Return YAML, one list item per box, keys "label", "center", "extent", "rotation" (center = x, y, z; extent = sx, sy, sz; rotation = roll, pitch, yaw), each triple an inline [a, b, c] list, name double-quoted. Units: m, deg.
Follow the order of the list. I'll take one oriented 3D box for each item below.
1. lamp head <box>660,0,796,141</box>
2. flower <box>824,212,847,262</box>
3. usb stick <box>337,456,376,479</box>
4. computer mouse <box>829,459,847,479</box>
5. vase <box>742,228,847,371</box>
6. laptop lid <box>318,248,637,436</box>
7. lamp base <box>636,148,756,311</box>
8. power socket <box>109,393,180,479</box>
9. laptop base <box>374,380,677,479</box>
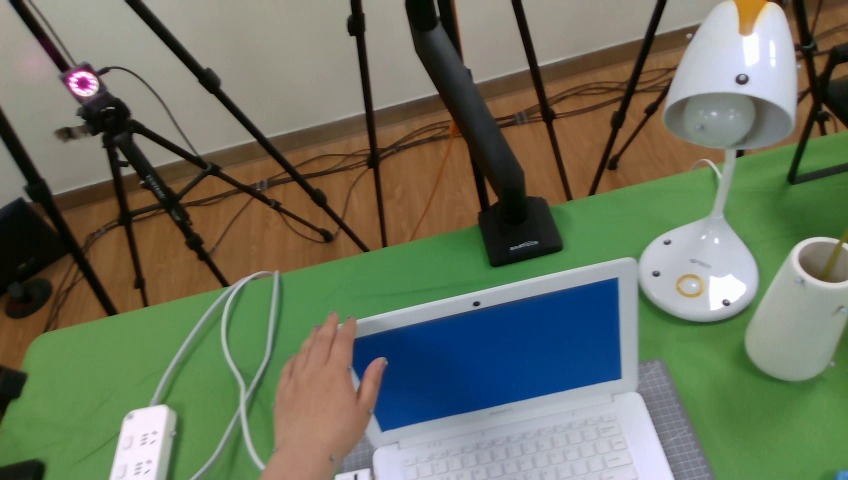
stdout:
- label: "lamp head"
  center: [0.288, -0.166, 0.563]
  extent: [0.112, 0.113, 0.122]
  rotation: [11, 73, 22]
- label: "flower"
  center: [0.439, 0.011, 0.654]
  extent: [0.038, 0.365, 0.043]
  rotation: [-13, 38, -19]
- label: "usb stick"
  center: [-0.079, 0.291, 0.770]
  extent: [0.059, 0.027, 0.021]
  rotation: [-9, 48, 2]
- label: "computer mouse"
  center: [0.459, 0.289, 0.639]
  extent: [0.062, 0.041, 0.117]
  rotation: [21, 55, 31]
- label: "vase"
  center: [0.441, 0.072, 0.713]
  extent: [0.098, 0.202, 0.097]
  rotation: [-8, 49, 10]
- label: "laptop lid"
  center: [0.077, 0.134, 0.719]
  extent: [0.356, 0.244, 0.013]
  rotation: [-15, 39, 4]
- label: "lamp base"
  center: [0.379, -0.024, 0.819]
  extent: [0.159, 0.182, 0.178]
  rotation: [14, 54, 24]
- label: "power socket"
  center: [-0.391, 0.316, 0.835]
  extent: [0.072, 0.033, 0.224]
  rotation: [-11, 49, 5]
- label: "laptop base"
  center: [0.120, 0.310, 0.720]
  extent: [0.354, 0.023, 0.233]
  rotation: [-14, 53, 3]
